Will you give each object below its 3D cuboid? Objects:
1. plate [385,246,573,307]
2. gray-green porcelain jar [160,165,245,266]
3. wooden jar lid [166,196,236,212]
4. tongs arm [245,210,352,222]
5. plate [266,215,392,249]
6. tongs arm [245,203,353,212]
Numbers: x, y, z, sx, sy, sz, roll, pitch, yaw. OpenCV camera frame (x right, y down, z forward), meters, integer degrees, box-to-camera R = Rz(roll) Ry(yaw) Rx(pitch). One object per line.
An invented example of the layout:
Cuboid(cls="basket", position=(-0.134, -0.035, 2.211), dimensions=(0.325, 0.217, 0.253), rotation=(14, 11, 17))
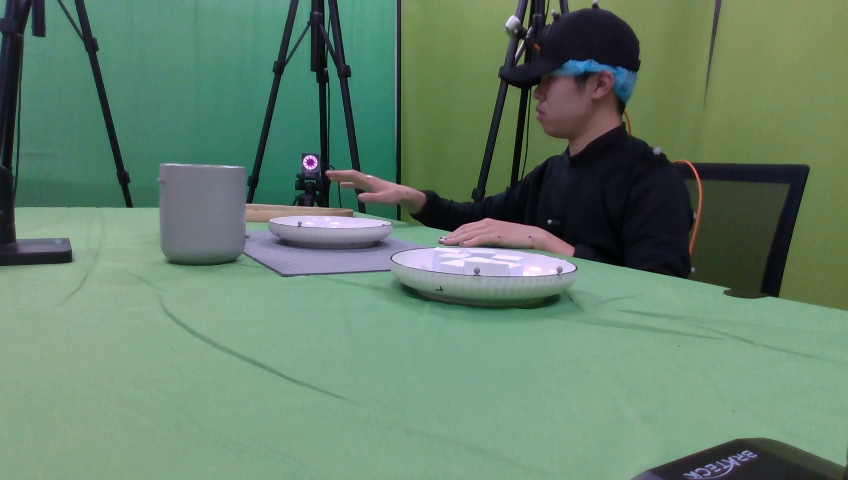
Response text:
Cuboid(cls="plate", position=(0.060, 0.041, 0.678), dimensions=(0.208, 0.039, 0.207), rotation=(3, 7, 0))
Cuboid(cls="gray-green porcelain jar", position=(-0.291, -0.034, 0.799), dimensions=(0.106, 0.126, 0.106), rotation=(2, 8, 0))
Cuboid(cls="wooden jar lid", position=(-0.369, -0.059, 1.001), dimensions=(0.108, 0.020, 0.108), rotation=(3, 6, 0))
Cuboid(cls="tongs arm", position=(-0.337, -0.053, 1.329), dimensions=(0.389, 0.028, 0.028), rotation=(-1, 6, -27))
Cuboid(cls="plate", position=(-0.159, -0.015, 1.019), dimensions=(0.209, 0.038, 0.209), rotation=(3, 7, 0))
Cuboid(cls="tongs arm", position=(-0.362, -0.068, 1.406), dimensions=(0.386, 0.026, 0.050), rotation=(2, 9, -14))
